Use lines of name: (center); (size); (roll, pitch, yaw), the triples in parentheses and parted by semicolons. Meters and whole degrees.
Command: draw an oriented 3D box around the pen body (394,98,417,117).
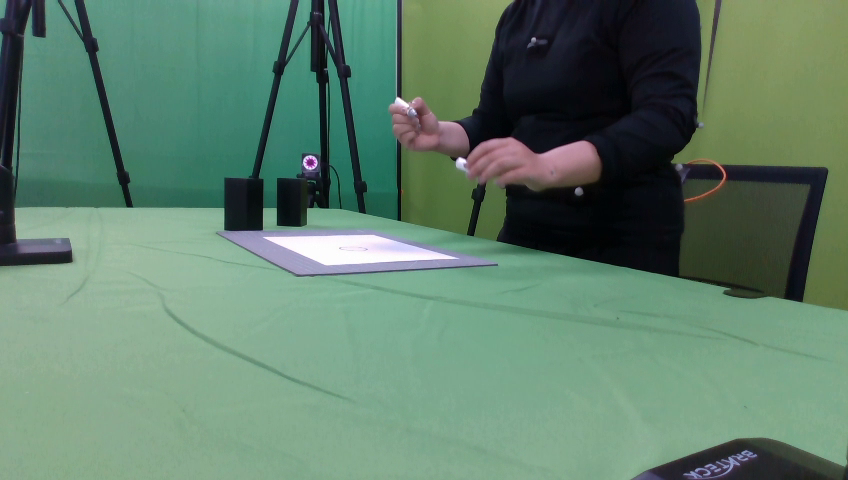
pen body: (-0.032, -0.243, 1.114); (0.017, 0.017, 0.143); (1, 21, -16)

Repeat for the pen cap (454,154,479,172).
pen cap: (0.066, -0.117, 0.925); (0.038, 0.017, 0.017); (33, 21, 28)
